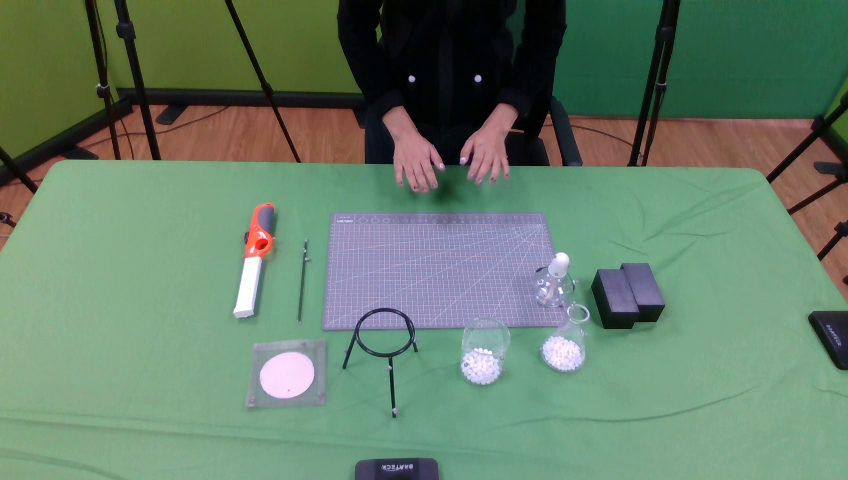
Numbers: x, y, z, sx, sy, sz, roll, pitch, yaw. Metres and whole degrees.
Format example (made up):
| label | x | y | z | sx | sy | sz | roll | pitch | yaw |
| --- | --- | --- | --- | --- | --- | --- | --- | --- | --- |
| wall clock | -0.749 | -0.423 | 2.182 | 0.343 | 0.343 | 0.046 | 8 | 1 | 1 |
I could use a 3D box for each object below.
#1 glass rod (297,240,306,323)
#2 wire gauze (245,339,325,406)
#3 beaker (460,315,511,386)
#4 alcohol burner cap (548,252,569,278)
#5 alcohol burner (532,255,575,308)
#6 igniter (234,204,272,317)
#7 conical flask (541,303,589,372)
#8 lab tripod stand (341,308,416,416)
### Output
| label | x | y | z | sx | sy | sz | roll | pitch | yaw |
| --- | --- | --- | --- | --- | --- | --- | --- | --- | --- |
| glass rod | -0.227 | 0.072 | 1.121 | 0.008 | 0.008 | 0.198 | -2 | 46 | -5 |
| wire gauze | -0.224 | 0.214 | 0.984 | 0.125 | 0.011 | 0.120 | -2 | 46 | -5 |
| beaker | 0.094 | 0.183 | 0.977 | 0.084 | 0.101 | 0.073 | -20 | 51 | -21 |
| alcohol burner cap | 0.238 | 0.042 | 1.060 | 0.034 | 0.048 | 0.033 | 1 | 52 | -1 |
| alcohol burner | 0.235 | 0.066 | 1.087 | 0.078 | 0.119 | 0.077 | 4 | 45 | -3 |
| igniter | -0.321 | 0.029 | 1.142 | 0.057 | 0.025 | 0.274 | -8 | 46 | 3 |
| conical flask | 0.240 | 0.156 | 0.998 | 0.075 | 0.122 | 0.075 | 2 | 46 | -2 |
| lab tripod stand | -0.061 | 0.177 | 0.946 | 0.148 | 0.132 | 0.147 | 2 | 44 | -2 |
